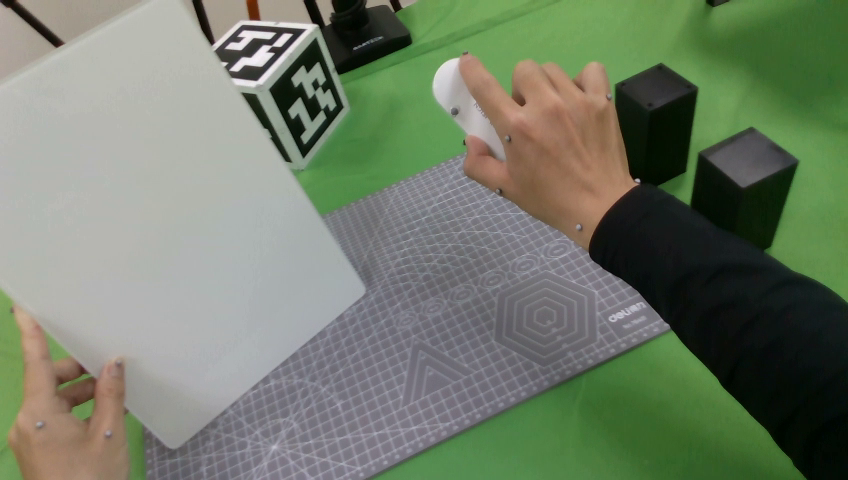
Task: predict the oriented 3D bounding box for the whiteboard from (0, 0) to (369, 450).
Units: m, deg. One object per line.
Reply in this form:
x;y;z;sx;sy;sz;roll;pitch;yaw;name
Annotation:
-0.230;-0.018;0.525;0.217;0.308;0.142;-40;32;-17;whiteboard

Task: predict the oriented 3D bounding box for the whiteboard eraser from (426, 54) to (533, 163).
0.044;-0.102;0.476;0.041;0.102;0.018;-46;11;3;whiteboard eraser
